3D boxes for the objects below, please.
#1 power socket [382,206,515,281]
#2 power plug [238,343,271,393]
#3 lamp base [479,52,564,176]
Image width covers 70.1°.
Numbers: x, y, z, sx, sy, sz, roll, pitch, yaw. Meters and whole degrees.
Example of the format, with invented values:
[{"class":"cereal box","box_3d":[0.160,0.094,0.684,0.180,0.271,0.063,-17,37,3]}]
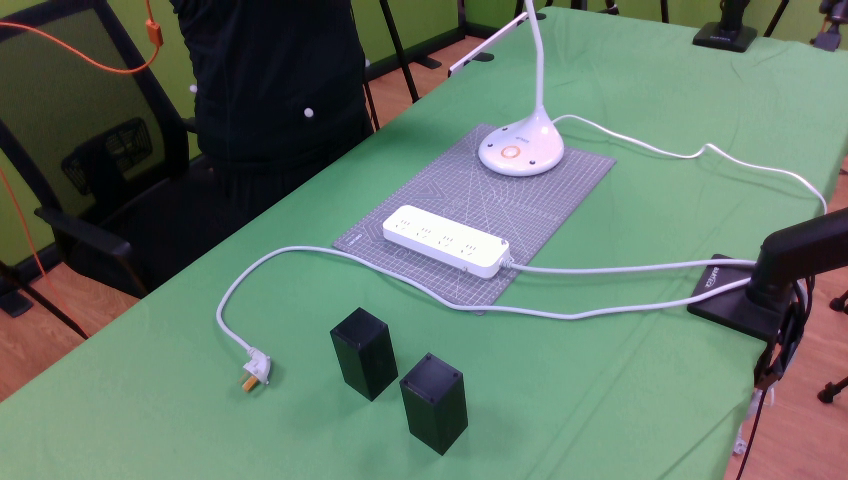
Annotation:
[{"class":"power socket","box_3d":[0.032,0.002,0.950,0.225,0.033,0.072,21,49,29]},{"class":"power plug","box_3d":[-0.230,0.172,0.801,0.072,0.035,0.053,8,50,50]},{"class":"lamp base","box_3d":[0.181,-0.235,1.094,0.159,0.181,0.179,18,44,27]}]
